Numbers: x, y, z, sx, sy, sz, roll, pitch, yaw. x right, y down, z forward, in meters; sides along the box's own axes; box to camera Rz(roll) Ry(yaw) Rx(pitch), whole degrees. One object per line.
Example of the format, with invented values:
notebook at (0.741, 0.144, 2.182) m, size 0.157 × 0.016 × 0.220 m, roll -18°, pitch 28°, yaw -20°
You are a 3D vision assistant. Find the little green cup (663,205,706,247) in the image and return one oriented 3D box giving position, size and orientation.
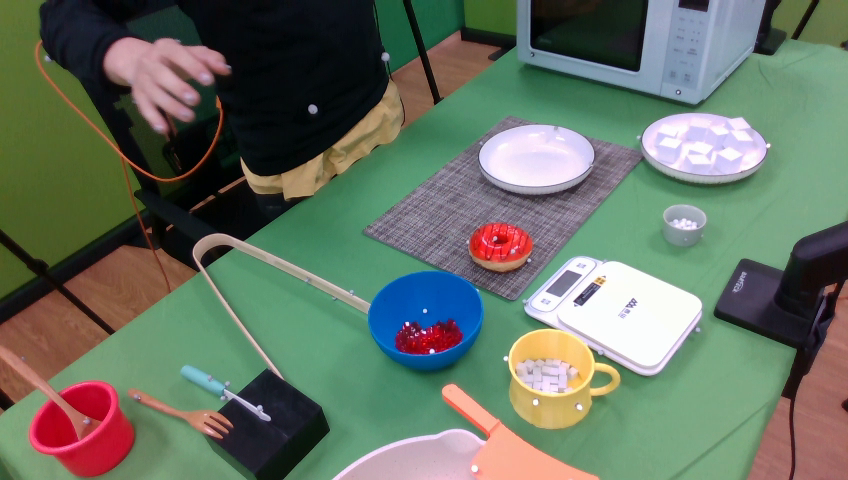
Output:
little green cup at (0.396, -0.020, 0.926) m, size 0.061 × 0.039 × 0.061 m, roll -4°, pitch 40°, yaw 4°

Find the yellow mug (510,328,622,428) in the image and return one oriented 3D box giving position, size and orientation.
yellow mug at (0.168, 0.164, 0.722) m, size 0.131 × 0.064 × 0.099 m, roll 0°, pitch 40°, yaw 7°

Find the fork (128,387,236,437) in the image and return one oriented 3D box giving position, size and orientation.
fork at (-0.305, 0.207, 0.744) m, size 0.206 × 0.019 × 0.028 m, roll 3°, pitch 41°, yaw 36°

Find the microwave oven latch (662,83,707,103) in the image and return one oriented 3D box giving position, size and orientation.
microwave oven latch at (0.517, -0.296, 1.204) m, size 0.078 × 0.029 × 0.030 m, roll 27°, pitch 52°, yaw 35°

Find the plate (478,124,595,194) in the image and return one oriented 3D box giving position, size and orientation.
plate at (0.202, -0.142, 1.093) m, size 0.209 × 0.038 × 0.208 m, roll -4°, pitch 40°, yaw 4°

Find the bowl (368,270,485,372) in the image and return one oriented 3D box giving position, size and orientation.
bowl at (0.007, 0.118, 0.791) m, size 0.151 × 0.077 × 0.150 m, roll -5°, pitch 39°, yaw 4°

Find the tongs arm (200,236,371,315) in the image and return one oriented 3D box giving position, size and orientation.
tongs arm at (-0.209, 0.062, 0.924) m, size 0.381 × 0.027 × 0.051 m, roll 23°, pitch 54°, yaw 32°

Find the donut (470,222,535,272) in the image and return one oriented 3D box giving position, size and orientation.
donut at (0.119, 0.009, 0.923) m, size 0.099 × 0.048 × 0.098 m, roll -4°, pitch 38°, yaw 3°

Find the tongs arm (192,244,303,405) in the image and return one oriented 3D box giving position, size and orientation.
tongs arm at (-0.268, 0.111, 0.884) m, size 0.028 × 0.028 × 0.384 m, roll -36°, pitch 47°, yaw -18°

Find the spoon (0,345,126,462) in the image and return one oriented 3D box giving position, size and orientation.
spoon at (-0.434, 0.192, 0.720) m, size 0.194 × 0.021 × 0.042 m, roll 47°, pitch 53°, yaw -7°

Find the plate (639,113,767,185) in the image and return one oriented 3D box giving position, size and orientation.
plate at (0.489, -0.157, 1.074) m, size 0.207 × 0.039 × 0.206 m, roll -4°, pitch 40°, yaw 4°

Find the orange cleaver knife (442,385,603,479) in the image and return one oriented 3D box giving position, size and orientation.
orange cleaver knife at (0.086, 0.219, 0.612) m, size 0.209 × 0.012 × 0.077 m, roll 28°, pitch 49°, yaw 35°

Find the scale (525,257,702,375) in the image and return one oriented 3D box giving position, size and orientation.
scale at (0.254, 0.091, 0.821) m, size 0.199 × 0.032 × 0.149 m, roll 28°, pitch 51°, yaw 35°

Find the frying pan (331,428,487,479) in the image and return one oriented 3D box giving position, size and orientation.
frying pan at (-0.089, 0.305, 0.564) m, size 0.487 × 0.103 × 0.306 m, roll 10°, pitch 41°, yaw 7°

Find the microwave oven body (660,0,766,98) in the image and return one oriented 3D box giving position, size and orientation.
microwave oven body at (0.472, -0.513, 1.317) m, size 0.438 × 0.261 × 0.327 m, roll 26°, pitch 51°, yaw 34°

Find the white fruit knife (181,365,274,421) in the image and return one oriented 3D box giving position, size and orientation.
white fruit knife at (-0.245, 0.187, 0.747) m, size 0.205 × 0.027 × 0.016 m, roll 9°, pitch 41°, yaw 40°

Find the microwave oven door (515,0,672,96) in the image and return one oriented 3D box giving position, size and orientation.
microwave oven door at (0.343, -0.454, 1.259) m, size 0.353 × 0.245 × 0.039 m, roll 26°, pitch 51°, yaw 33°
